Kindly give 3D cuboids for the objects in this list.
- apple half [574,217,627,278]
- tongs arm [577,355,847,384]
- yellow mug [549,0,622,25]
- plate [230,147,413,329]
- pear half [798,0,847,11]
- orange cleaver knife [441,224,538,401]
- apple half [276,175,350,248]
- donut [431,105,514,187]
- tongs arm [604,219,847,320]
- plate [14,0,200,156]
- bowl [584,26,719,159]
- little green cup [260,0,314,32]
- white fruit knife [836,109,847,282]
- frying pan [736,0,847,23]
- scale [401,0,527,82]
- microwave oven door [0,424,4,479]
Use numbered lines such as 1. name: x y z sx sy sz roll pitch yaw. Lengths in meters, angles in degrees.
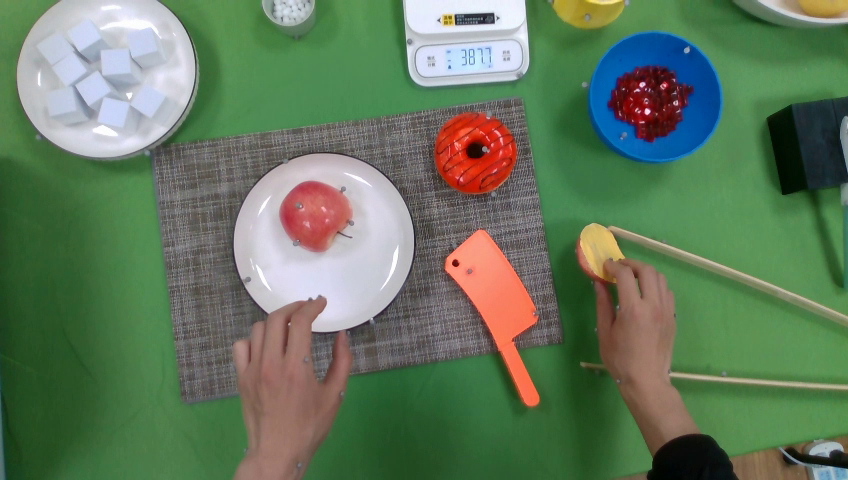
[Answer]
1. apple half: 0.196 0.015 0.704 0.082 0.033 0.080 20 53 -28
2. tongs arm: 0.374 0.138 0.710 0.385 0.026 0.050 7 81 -2
3. yellow mug: 0.191 -0.332 0.728 0.100 0.064 0.130 -41 87 -4
4. plate: -0.116 -0.003 0.702 0.209 0.038 0.208 0 85 -2
5. pear half: 0.484 -0.309 0.709 0.076 0.110 0.056 28 85 5
6. orange cleaver knife: 0.093 0.083 0.709 0.077 0.012 0.211 -26 85 -10
7. apple half: -0.129 -0.036 0.688 0.074 0.053 0.081 44 85 6
8. donut: 0.056 -0.110 0.713 0.099 0.048 0.099 0 86 0
9. tongs arm: 0.393 0.054 0.721 0.387 0.028 0.028 22 77 0
10. plate: -0.366 -0.197 0.714 0.208 0.039 0.207 0 85 -2
11. bowl: 0.254 -0.162 0.710 0.151 0.077 0.151 0 86 -1
12. little green cup: -0.162 -0.282 0.727 0.061 0.038 0.061 0 85 -1
13. white fruit knife: 0.492 -0.048 0.707 0.016 0.027 0.208 -11 100 -2
14. frying pan: 0.523 -0.316 0.718 0.307 0.103 0.485 -35 79 -3
15. scale: 0.046 -0.297 0.738 0.149 0.031 0.200 -4 86 -2
16. microwave oven door: -0.493 0.127 0.562 0.039 0.244 0.355 -6 85 -2
